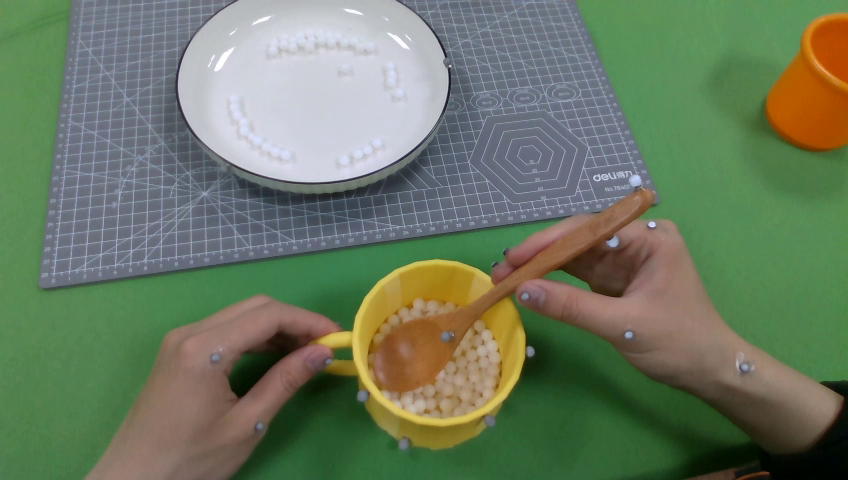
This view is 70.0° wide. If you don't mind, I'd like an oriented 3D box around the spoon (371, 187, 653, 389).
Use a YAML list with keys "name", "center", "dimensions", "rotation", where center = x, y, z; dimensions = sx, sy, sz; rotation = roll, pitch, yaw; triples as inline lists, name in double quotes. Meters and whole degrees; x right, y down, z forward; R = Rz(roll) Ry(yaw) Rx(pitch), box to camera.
- name: "spoon"
  center: [0.042, 0.030, 0.338]
  dimensions: [0.022, 0.194, 0.041]
  rotation: [9, 50, -52]

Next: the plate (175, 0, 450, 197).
- name: "plate"
  center: [-0.083, -0.117, 0.477]
  dimensions: [0.208, 0.039, 0.206]
  rotation: [2, 61, -3]

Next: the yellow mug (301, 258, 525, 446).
- name: "yellow mug"
  center: [-0.009, 0.069, 0.369]
  dimensions: [0.131, 0.064, 0.099]
  rotation: [-1, 61, -4]
